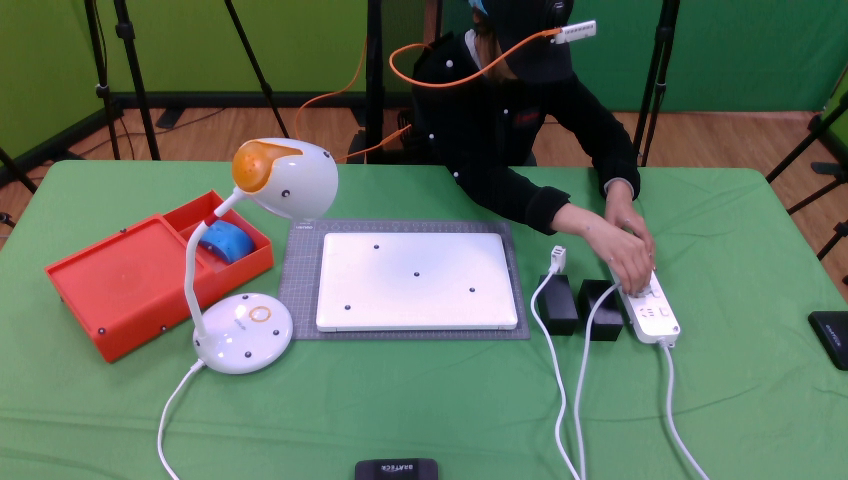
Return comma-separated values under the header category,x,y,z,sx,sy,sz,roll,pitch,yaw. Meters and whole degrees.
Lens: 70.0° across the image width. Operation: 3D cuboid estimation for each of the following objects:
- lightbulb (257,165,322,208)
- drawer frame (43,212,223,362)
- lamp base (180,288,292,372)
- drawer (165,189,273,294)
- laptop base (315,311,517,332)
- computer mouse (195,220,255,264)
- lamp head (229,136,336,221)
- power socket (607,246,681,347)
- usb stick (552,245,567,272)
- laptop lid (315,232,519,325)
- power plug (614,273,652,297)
category,x,y,z,sx,sy,sz,roll,pitch,yaw
lightbulb,-0.181,-0.076,0.809,0.059,0.059,0.108,35,10,27
drawer frame,-0.497,0.073,1.049,0.213,0.083,0.200,-34,57,-31
lamp base,-0.309,0.108,0.959,0.160,0.181,0.179,29,55,22
drawer,-0.419,0.022,1.108,0.193,0.073,0.211,38,55,27
laptop base,-0.016,0.075,1.125,0.355,0.023,0.234,0,42,-4
computer mouse,-0.380,-0.002,1.152,0.116,0.041,0.062,28,53,28
lamp head,-0.196,-0.085,0.791,0.112,0.112,0.123,36,14,27
power socket,0.403,0.096,1.122,0.072,0.033,0.225,-3,47,-5
usb stick,0.251,0.039,1.124,0.021,0.059,0.027,14,48,25
laptop lid,-0.015,0.065,1.118,0.357,0.013,0.240,1,43,-3
power plug,0.375,0.083,1.094,0.072,0.053,0.035,1,39,5
